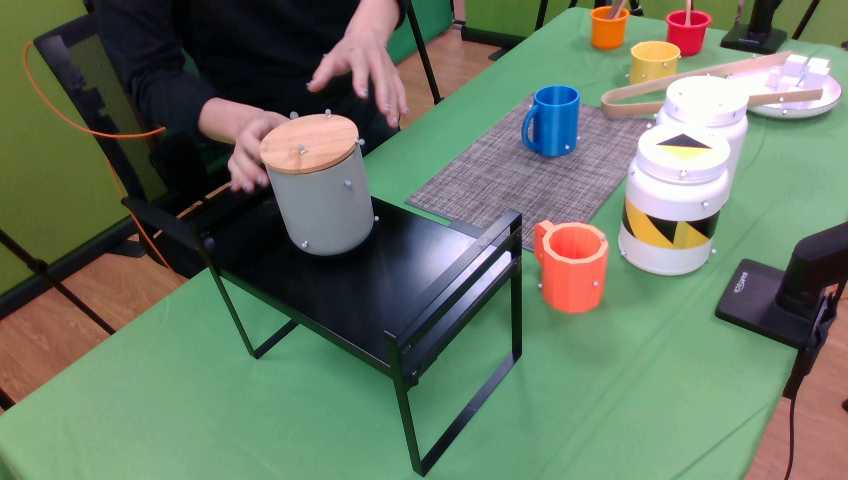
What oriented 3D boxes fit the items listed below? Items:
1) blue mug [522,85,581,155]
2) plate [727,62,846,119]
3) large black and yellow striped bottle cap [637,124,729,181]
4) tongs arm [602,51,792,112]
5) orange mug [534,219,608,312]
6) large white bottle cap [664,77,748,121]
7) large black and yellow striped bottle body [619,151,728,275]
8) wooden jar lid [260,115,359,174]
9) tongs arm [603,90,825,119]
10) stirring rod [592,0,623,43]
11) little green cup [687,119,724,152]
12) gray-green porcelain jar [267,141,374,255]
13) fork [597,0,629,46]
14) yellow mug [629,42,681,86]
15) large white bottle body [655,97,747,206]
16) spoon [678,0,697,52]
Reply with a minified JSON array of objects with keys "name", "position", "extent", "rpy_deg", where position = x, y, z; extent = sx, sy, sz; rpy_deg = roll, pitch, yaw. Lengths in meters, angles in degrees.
[{"name":"blue mug","position":[0.233,-0.218,1.127],"extent":[0.117,0.106,0.081],"rpy_deg":[-23,43,-16]},{"name":"plate","position":[0.710,-0.292,1.198],"extent":[0.207,0.039,0.206],"rpy_deg":[-4,40,4]},{"name":"large black and yellow striped bottle cap","position":[0.346,-0.119,0.810],"extent":[0.115,0.019,0.114],"rpy_deg":[-5,41,5]},{"name":"tongs arm","position":[0.552,-0.320,1.224],"extent":[0.384,0.027,0.050],"rpy_deg":[-11,44,7]},{"name":"orange mug","position":[0.200,0.027,0.858],"extent":[0.084,0.101,0.125],"rpy_deg":[-24,47,-18]},{"name":"large white bottle cap","position":[0.421,-0.212,0.905],"extent":[0.115,0.018,0.114],"rpy_deg":[-4,40,4]},{"name":"large black and yellow striped bottle body","position":[0.354,-0.056,0.865],"extent":[0.131,0.185,0.130],"rpy_deg":[-4,41,4]},{"name":"wooden jar lid","position":[-0.124,-0.102,0.662],"extent":[0.108,0.021,0.108],"rpy_deg":[-4,41,4]},{"name":"tongs arm","position":[0.546,-0.262,1.163],"extent":[0.386,0.028,0.028],"rpy_deg":[-1,49,18]},{"name":"stirring rod","position":[0.460,-0.557,1.461],"extent":[0.014,0.176,0.006],"rpy_deg":[35,11,22]},{"name":"little green cup","position":[0.514,-0.191,1.109],"extent":[0.061,0.039,0.061],"rpy_deg":[-5,40,5]},{"name":"gray-green porcelain jar","position":[-0.117,-0.054,0.703],"extent":[0.106,0.127,0.105],"rpy_deg":[-4,40,4]},{"name":"fork","position":[0.479,-0.558,1.455],"extent":[0.028,0.019,0.207],"rpy_deg":[35,100,38]},{"name":"yellow mug","position":[0.495,-0.389,1.321],"extent":[0.100,0.064,0.130],"rpy_deg":[-14,40,-6]},{"name":"large white bottle body","position":[0.431,-0.148,0.959],"extent":[0.130,0.185,0.130],"rpy_deg":[-4,41,4]},{"name":"spoon","position":[0.614,-0.526,1.402],"extent":[0.041,0.022,0.193],"rpy_deg":[3,86,11]}]
